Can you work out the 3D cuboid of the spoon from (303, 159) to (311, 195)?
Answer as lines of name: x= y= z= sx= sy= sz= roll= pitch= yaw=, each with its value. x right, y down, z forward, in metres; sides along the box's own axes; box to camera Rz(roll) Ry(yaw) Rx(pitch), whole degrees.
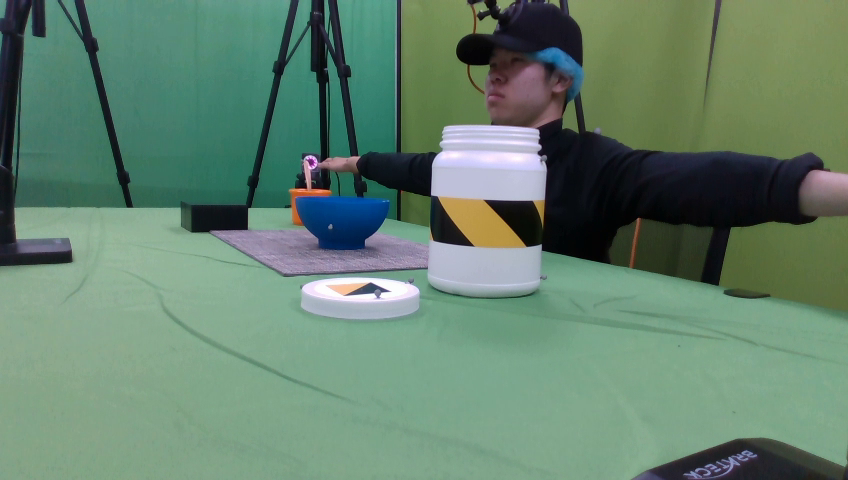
spoon: x=-0.256 y=-0.113 z=1.341 sx=0.042 sy=0.193 sz=0.021 roll=3 pitch=-38 yaw=-18

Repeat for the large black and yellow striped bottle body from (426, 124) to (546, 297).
large black and yellow striped bottle body: x=0.070 y=-0.037 z=0.689 sx=0.131 sy=0.184 sz=0.130 roll=2 pitch=7 yaw=0

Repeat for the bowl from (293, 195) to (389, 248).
bowl: x=-0.132 y=-0.029 z=0.962 sx=0.151 sy=0.077 sz=0.151 roll=2 pitch=7 yaw=0

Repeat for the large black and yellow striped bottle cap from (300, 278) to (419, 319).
large black and yellow striped bottle cap: x=-0.062 y=0.055 z=0.588 sx=0.115 sy=0.019 sz=0.115 roll=1 pitch=6 yaw=0
